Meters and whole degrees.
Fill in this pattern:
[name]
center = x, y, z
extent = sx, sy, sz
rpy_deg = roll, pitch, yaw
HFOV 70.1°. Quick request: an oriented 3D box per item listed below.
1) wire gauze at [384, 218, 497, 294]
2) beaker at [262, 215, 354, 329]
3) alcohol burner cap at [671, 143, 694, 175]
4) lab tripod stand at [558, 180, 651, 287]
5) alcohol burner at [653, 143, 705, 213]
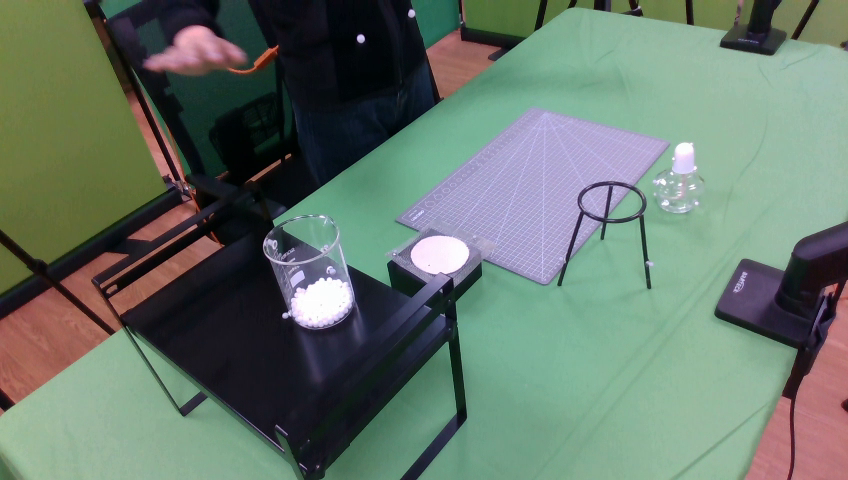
[wire gauze]
center = 0.024, 0.016, 0.886
extent = 0.124, 0.011, 0.122
rpy_deg = 28, 49, 33
[beaker]
center = -0.112, 0.034, 0.616
extent = 0.073, 0.101, 0.084
rpy_deg = 13, 44, 23
[alcohol burner cap]
center = 0.403, -0.129, 0.941
extent = 0.034, 0.048, 0.033
rpy_deg = -10, 39, 8
[lab tripod stand]
center = 0.258, -0.005, 0.857
extent = 0.148, 0.132, 0.147
rpy_deg = -4, 43, 4
[alcohol burner]
center = 0.408, -0.102, 0.963
extent = 0.078, 0.119, 0.077
rpy_deg = -6, 42, 6
